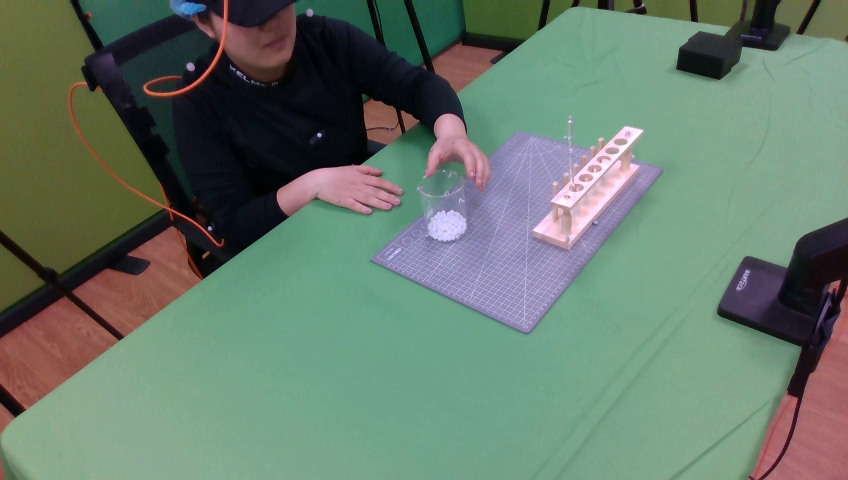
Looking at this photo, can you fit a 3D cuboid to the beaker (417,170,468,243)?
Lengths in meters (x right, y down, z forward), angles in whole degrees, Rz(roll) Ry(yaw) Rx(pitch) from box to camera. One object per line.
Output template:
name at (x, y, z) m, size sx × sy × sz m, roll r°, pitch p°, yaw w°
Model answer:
beaker at (0.034, -0.054, 0.976) m, size 0.073 × 0.101 × 0.084 m, roll 8°, pitch 43°, yaw 20°

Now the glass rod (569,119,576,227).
glass rod at (0.218, -0.093, 0.893) m, size 0.008 × 0.201 × 0.008 m, roll -8°, pitch 42°, yaw 8°

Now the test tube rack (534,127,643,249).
test tube rack at (0.271, -0.094, 0.989) m, size 0.066 × 0.085 × 0.243 m, roll 23°, pitch 50°, yaw 33°
